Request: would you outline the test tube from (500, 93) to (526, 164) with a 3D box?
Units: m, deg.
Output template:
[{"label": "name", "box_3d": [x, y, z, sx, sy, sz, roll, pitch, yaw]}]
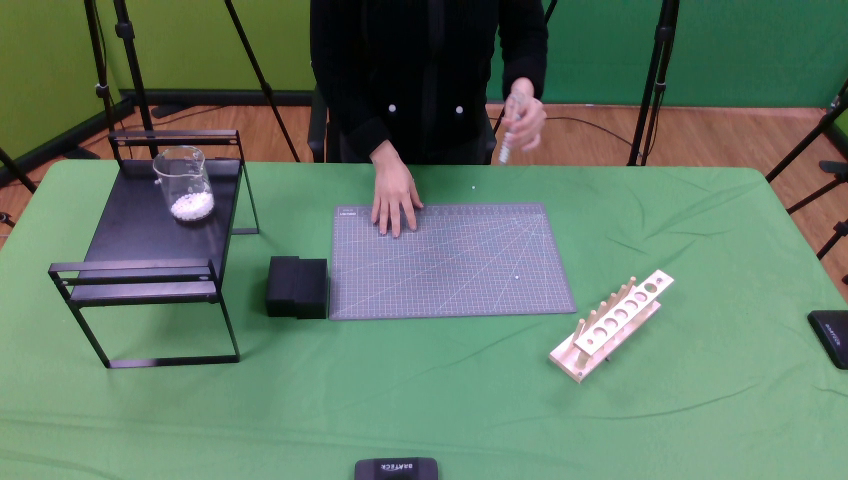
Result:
[{"label": "test tube", "box_3d": [0.152, -0.188, 1.043, 0.017, 0.151, 0.017, 4, 50, -4]}]

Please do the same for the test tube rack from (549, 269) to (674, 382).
[{"label": "test tube rack", "box_3d": [0.325, 0.134, 1.047, 0.242, 0.085, 0.066, -32, 56, -30]}]

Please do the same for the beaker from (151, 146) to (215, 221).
[{"label": "beaker", "box_3d": [-0.370, -0.084, 0.949, 0.083, 0.101, 0.074, 26, 50, 19]}]
